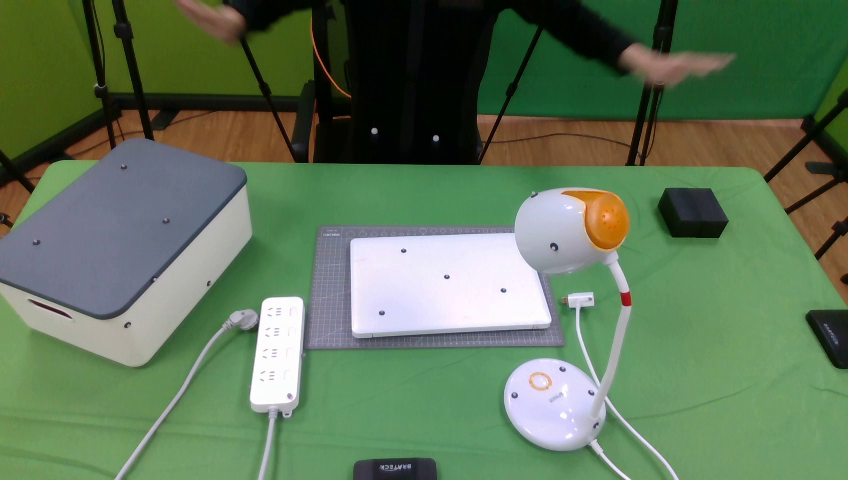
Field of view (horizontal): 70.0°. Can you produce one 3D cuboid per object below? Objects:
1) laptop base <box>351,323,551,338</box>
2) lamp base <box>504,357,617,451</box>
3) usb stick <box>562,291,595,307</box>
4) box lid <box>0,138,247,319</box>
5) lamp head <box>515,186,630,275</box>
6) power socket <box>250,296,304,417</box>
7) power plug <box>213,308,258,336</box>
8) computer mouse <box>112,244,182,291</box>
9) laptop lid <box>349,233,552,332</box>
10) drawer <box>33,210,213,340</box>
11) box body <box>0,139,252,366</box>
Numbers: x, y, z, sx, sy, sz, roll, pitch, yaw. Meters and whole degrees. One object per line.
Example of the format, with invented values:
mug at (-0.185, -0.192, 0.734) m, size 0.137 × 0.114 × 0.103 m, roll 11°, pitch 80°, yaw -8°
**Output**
laptop base at (0.039, 0.080, 1.126) m, size 0.355 × 0.023 × 0.234 m, roll -2°, pitch 43°, yaw -6°
lamp base at (0.220, 0.211, 0.903) m, size 0.160 × 0.181 × 0.178 m, roll -32°, pitch 59°, yaw -30°
usb stick at (0.280, 0.109, 1.105) m, size 0.059 × 0.021 × 0.027 m, roll -6°, pitch 12°, yaw 23°
box lid at (-0.494, -0.037, 0.994) m, size 0.263 × 0.015 × 0.370 m, roll 17°, pitch 46°, yaw 12°
lamp head at (0.188, -0.013, 0.728) m, size 0.112 × 0.112 × 0.122 m, roll -25°, pitch 9°, yaw -25°
power socket at (-0.239, 0.182, 0.997) m, size 0.072 × 0.033 × 0.225 m, roll -2°, pitch 47°, yaw -5°
power plug at (-0.317, 0.141, 1.025) m, size 0.072 × 0.053 × 0.035 m, roll -27°, pitch 55°, yaw -7°
computer mouse at (-0.492, 0.046, 1.078) m, size 0.117 × 0.041 × 0.062 m, roll 24°, pitch 41°, yaw 13°
laptop lid at (0.040, 0.070, 1.119) m, size 0.357 × 0.013 × 0.240 m, roll -1°, pitch 44°, yaw -5°
drawer at (-0.509, 0.055, 1.046) m, size 0.194 × 0.073 × 0.211 m, roll 15°, pitch 43°, yaw 11°
box body at (-0.496, 0.013, 1.048) m, size 0.254 × 0.161 × 0.362 m, roll 17°, pitch 47°, yaw 12°
